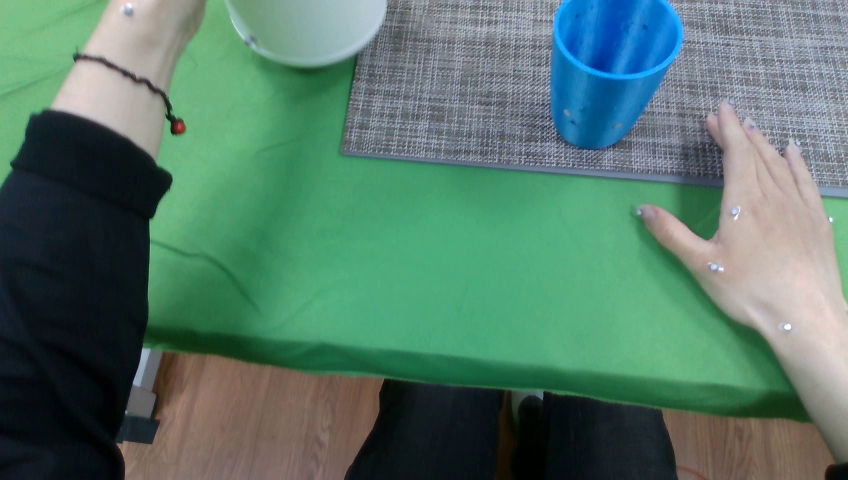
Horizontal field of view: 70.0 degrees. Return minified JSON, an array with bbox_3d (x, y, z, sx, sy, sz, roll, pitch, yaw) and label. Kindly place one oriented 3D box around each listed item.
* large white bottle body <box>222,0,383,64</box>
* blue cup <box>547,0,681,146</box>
[{"bbox_3d":[-0.100,-0.235,0.435,0.130,0.186,0.129,0,66,0],"label":"large white bottle body"},{"bbox_3d":[0.128,-0.121,0.444,0.092,0.101,0.092,-1,65,3],"label":"blue cup"}]
